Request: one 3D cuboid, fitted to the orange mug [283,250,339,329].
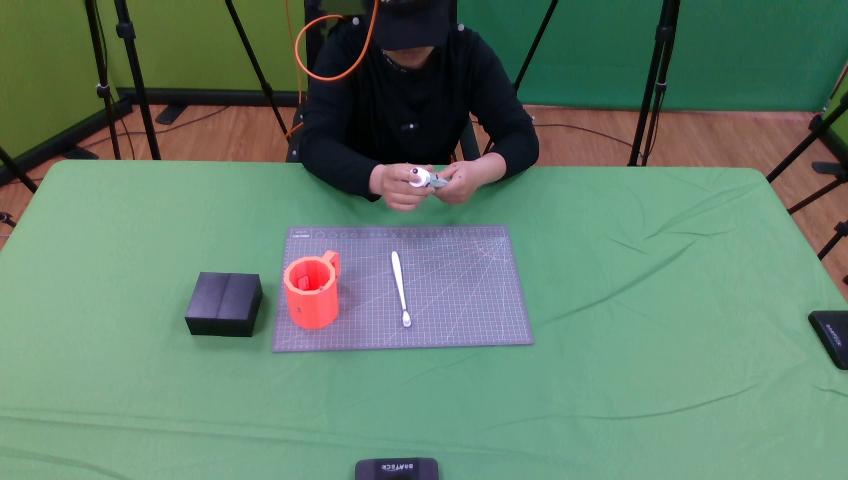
[{"bbox_3d":[-0.186,0.079,1.052,0.083,0.101,0.126,20,52,15],"label":"orange mug"}]

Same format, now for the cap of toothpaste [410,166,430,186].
[{"bbox_3d":[-0.007,-0.113,1.067,0.037,0.037,0.011,22,5,17],"label":"cap of toothpaste"}]

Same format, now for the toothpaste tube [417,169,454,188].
[{"bbox_3d":[0.015,-0.112,1.142,0.055,0.034,0.165,16,5,14],"label":"toothpaste tube"}]

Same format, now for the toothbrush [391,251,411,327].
[{"bbox_3d":[-0.044,0.085,1.113,0.014,0.017,0.180,-13,46,0],"label":"toothbrush"}]
